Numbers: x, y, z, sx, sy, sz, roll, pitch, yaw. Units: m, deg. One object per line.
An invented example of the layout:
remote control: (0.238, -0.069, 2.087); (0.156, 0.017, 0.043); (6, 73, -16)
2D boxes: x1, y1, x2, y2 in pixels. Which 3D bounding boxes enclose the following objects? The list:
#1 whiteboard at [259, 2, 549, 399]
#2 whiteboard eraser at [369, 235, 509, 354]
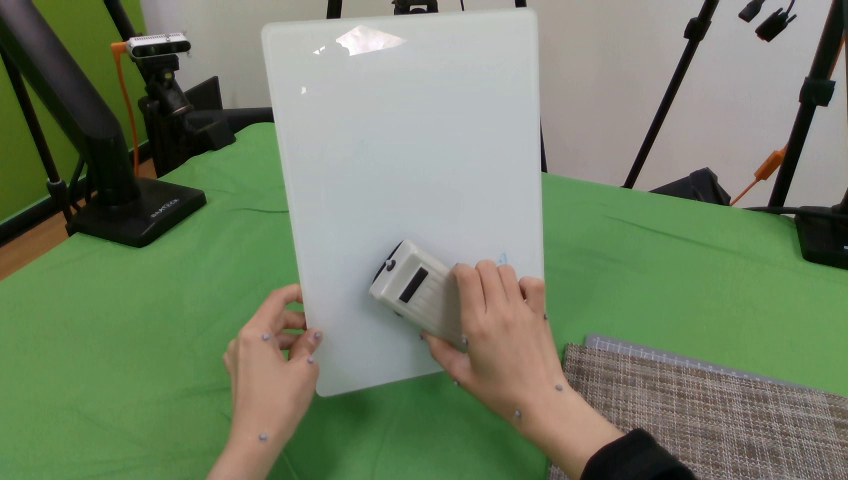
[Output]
whiteboard: (-0.018, -0.044, 0.560); (0.218, 0.307, 0.143); (-9, 17, -13)
whiteboard eraser: (0.013, 0.046, 0.503); (0.113, 0.055, 0.041); (34, -2, -24)
